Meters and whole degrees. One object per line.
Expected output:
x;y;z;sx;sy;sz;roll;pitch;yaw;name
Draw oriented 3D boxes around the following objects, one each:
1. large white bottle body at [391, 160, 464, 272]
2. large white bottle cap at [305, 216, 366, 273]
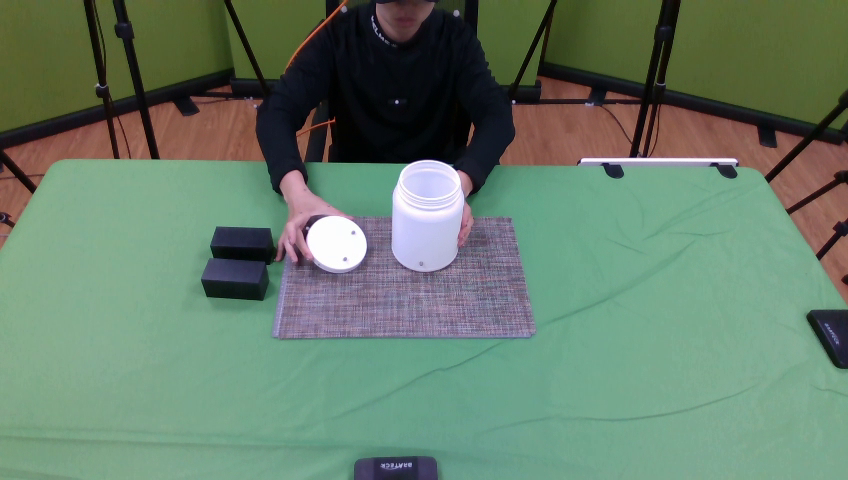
0.005;-0.045;1.124;0.131;0.185;0.130;2;46;-2;large white bottle body
-0.167;0.008;1.147;0.115;0.018;0.114;10;60;-17;large white bottle cap
